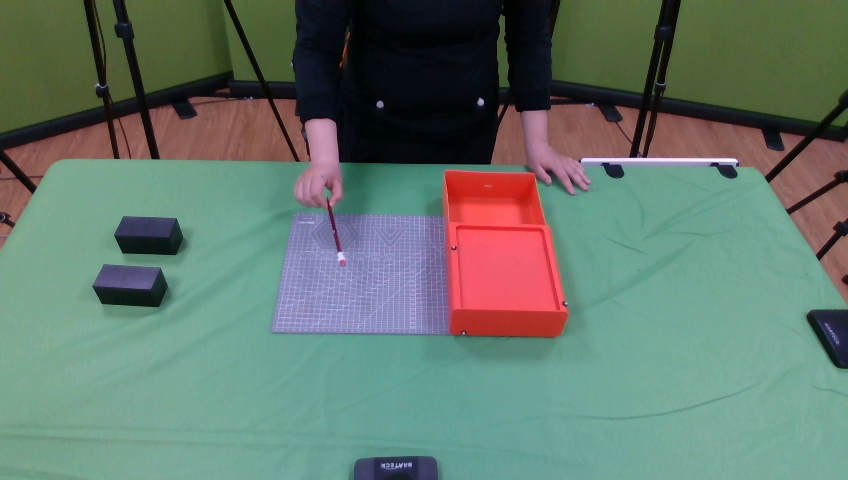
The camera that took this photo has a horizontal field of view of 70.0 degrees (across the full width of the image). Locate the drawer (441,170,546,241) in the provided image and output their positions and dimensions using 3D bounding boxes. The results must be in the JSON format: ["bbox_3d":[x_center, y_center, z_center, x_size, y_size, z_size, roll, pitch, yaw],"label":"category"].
[{"bbox_3d":[0.137,-0.048,1.214,0.195,0.073,0.210,2,44,-4],"label":"drawer"}]

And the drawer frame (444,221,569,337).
[{"bbox_3d":[0.141,0.067,1.097,0.202,0.083,0.212,2,46,-4],"label":"drawer frame"}]

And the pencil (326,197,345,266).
[{"bbox_3d":[-0.165,-0.021,1.109,0.012,0.012,0.192,-8,44,-12],"label":"pencil"}]
